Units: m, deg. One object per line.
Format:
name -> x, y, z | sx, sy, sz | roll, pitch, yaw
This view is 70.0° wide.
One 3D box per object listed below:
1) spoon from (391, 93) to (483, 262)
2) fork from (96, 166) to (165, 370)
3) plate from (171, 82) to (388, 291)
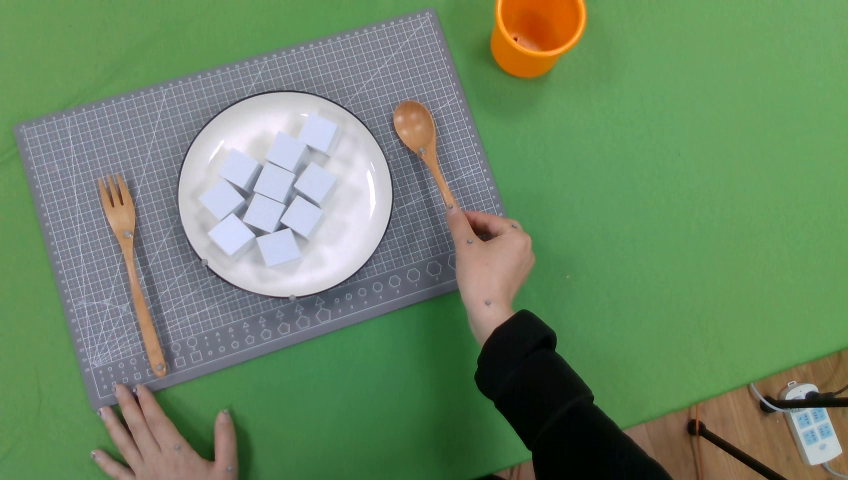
spoon -> 0.015, -0.064, 0.615 | 0.041, 0.022, 0.192 | -26, 74, 11
fork -> -0.285, 0.027, 0.595 | 0.028, 0.018, 0.206 | -16, 84, -12
plate -> -0.140, -0.052, 0.607 | 0.208, 0.039, 0.207 | 1, 84, -5
